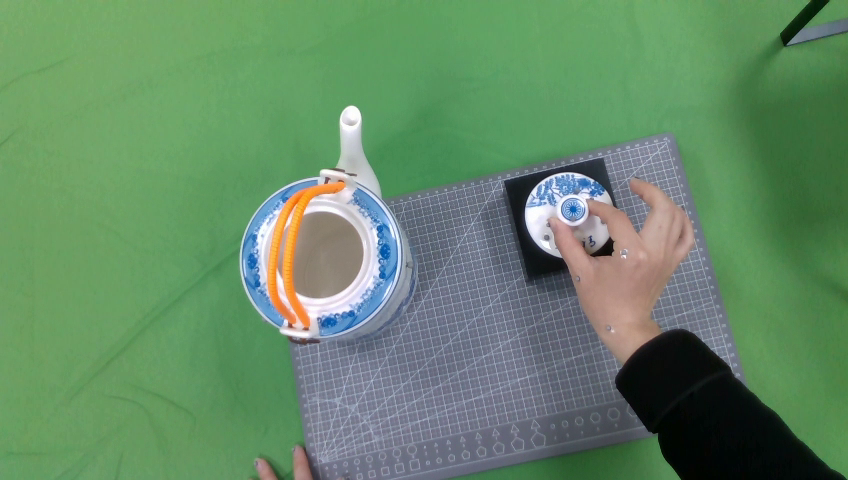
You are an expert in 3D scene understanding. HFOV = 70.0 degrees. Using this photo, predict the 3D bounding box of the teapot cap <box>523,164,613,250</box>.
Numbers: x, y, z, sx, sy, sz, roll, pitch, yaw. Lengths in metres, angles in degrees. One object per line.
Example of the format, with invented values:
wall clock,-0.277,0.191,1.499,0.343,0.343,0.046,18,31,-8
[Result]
teapot cap,0.136,-0.032,0.573,0.085,0.044,0.085,-1,79,6

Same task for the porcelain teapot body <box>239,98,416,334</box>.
porcelain teapot body,-0.083,-0.017,0.549,0.145,0.226,0.205,9,82,7
